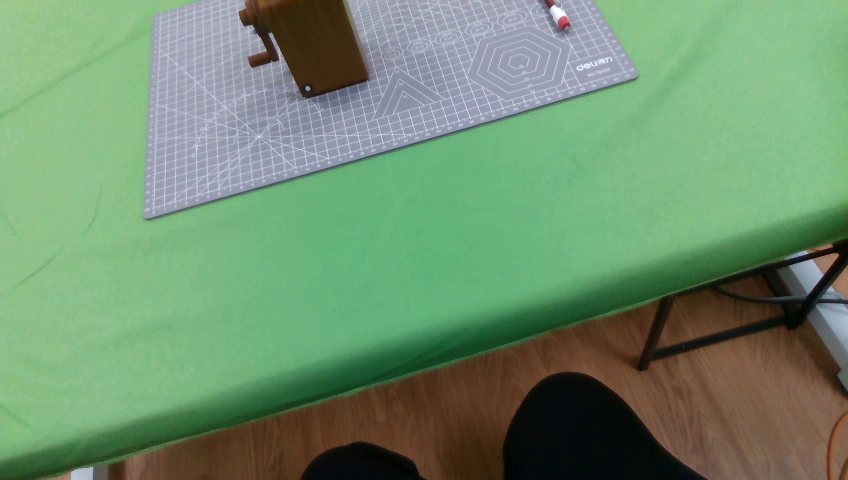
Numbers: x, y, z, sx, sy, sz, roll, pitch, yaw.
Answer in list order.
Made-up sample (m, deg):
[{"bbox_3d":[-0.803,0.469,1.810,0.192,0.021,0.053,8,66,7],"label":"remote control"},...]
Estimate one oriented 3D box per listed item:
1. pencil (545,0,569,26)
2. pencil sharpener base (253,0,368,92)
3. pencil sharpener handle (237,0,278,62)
[{"bbox_3d":[0.105,-0.276,0.614,0.012,0.012,0.192,-19,56,-1],"label":"pencil"},{"bbox_3d":[-0.102,-0.197,0.547,0.077,0.108,0.060,-18,57,0],"label":"pencil sharpener base"},{"bbox_3d":[-0.153,-0.188,0.537,0.030,0.068,0.035,-18,57,0],"label":"pencil sharpener handle"}]
